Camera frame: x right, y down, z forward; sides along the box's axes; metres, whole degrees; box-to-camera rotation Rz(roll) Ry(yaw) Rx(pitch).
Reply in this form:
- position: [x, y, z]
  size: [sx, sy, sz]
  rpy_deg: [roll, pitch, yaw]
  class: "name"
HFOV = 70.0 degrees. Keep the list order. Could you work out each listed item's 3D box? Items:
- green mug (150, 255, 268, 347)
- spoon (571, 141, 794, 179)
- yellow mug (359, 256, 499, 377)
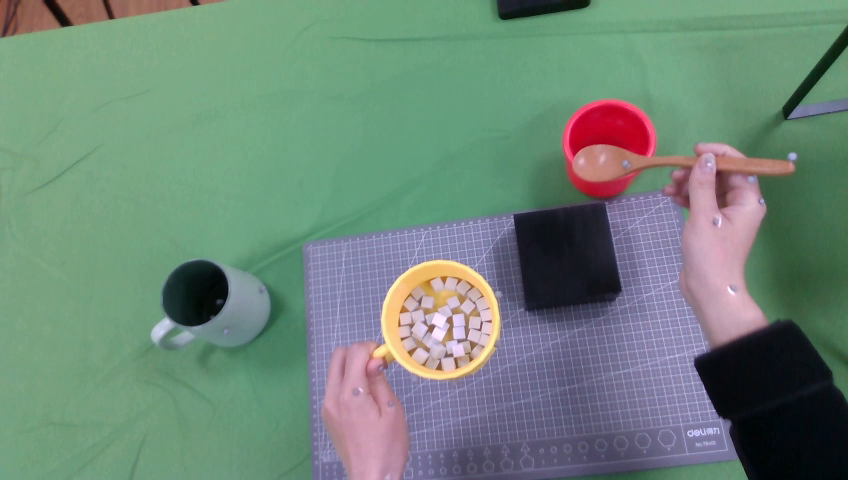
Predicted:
- position: [-0.249, 0.078, 0.689]
  size: [0.125, 0.105, 0.092]
  rpy_deg: [-39, 73, -4]
  class: "green mug"
- position: [0.212, -0.068, 0.524]
  size: [0.192, 0.022, 0.041]
  rpy_deg: [10, 69, 50]
  class: "spoon"
- position: [0.001, 0.077, 0.529]
  size: [0.131, 0.064, 0.099]
  rpy_deg: [-31, 76, 1]
  class: "yellow mug"
